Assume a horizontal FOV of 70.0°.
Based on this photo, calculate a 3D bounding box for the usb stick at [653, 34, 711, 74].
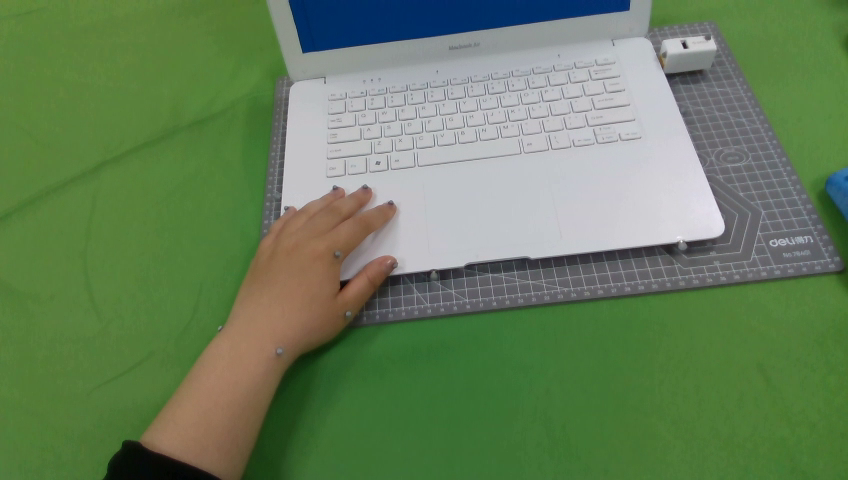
[{"bbox_3d":[0.231,-0.171,0.562,0.059,0.027,0.021,-7,56,7],"label":"usb stick"}]

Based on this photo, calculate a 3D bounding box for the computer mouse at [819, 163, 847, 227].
[{"bbox_3d":[0.352,-0.019,0.448,0.063,0.041,0.116,-12,51,2],"label":"computer mouse"}]

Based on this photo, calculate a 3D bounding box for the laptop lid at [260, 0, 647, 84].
[{"bbox_3d":[0.023,-0.258,0.521,0.356,0.244,0.013,-8,43,3],"label":"laptop lid"}]

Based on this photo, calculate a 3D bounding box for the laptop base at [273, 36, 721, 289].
[{"bbox_3d":[0.047,-0.076,0.536,0.354,0.023,0.233,-7,59,2],"label":"laptop base"}]
